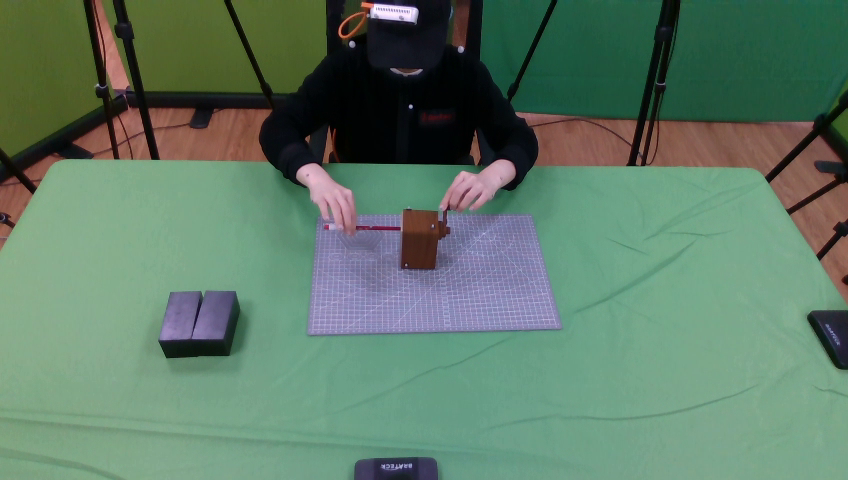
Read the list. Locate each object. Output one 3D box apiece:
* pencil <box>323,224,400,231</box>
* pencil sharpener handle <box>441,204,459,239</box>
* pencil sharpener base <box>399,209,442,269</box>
[{"bbox_3d":[-0.088,-0.021,1.113,0.194,0.012,0.012,2,46,-1],"label":"pencil"},{"bbox_3d":[0.046,-0.033,1.112,0.030,0.068,0.036,2,17,-2],"label":"pencil sharpener handle"},{"bbox_3d":[-0.007,0.000,1.134,0.077,0.107,0.061,2,46,-2],"label":"pencil sharpener base"}]
